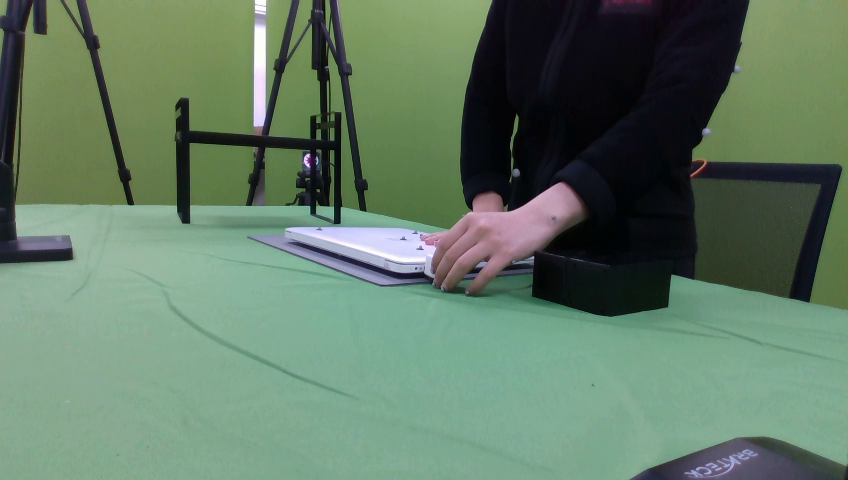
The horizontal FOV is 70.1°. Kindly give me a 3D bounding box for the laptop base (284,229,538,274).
[{"bbox_3d":[-0.035,0.013,0.898,0.237,0.023,0.352,1,7,-36],"label":"laptop base"}]

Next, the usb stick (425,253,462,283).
[{"bbox_3d":[0.018,0.030,0.697,0.021,0.027,0.059,-7,11,-35],"label":"usb stick"}]

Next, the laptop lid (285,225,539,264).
[{"bbox_3d":[-0.032,0.002,0.898,0.243,0.013,0.355,0,8,-34],"label":"laptop lid"}]
